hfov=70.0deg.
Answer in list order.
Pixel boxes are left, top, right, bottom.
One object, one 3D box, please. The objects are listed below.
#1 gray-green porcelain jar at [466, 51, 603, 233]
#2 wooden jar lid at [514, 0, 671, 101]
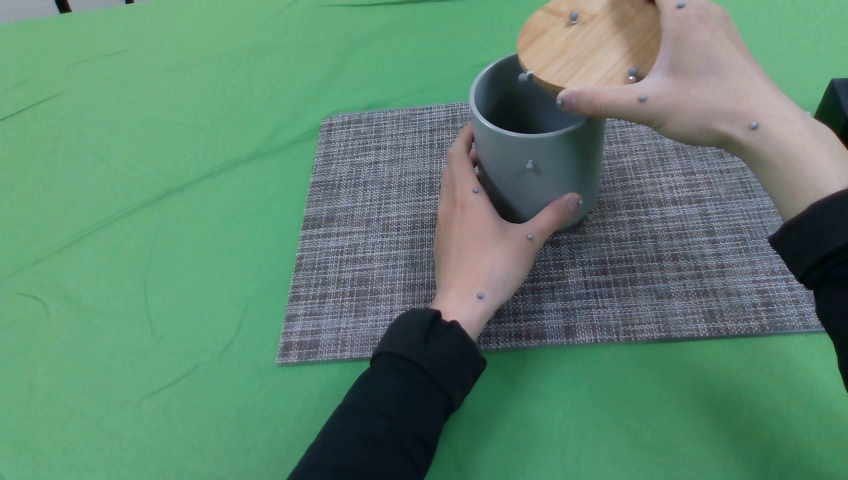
[{"bbox_3d":[0.093,-0.076,0.508,0.106,0.128,0.105,-6,52,8],"label":"gray-green porcelain jar"},{"bbox_3d":[0.119,-0.139,0.435,0.108,0.021,0.107,-6,56,9],"label":"wooden jar lid"}]
